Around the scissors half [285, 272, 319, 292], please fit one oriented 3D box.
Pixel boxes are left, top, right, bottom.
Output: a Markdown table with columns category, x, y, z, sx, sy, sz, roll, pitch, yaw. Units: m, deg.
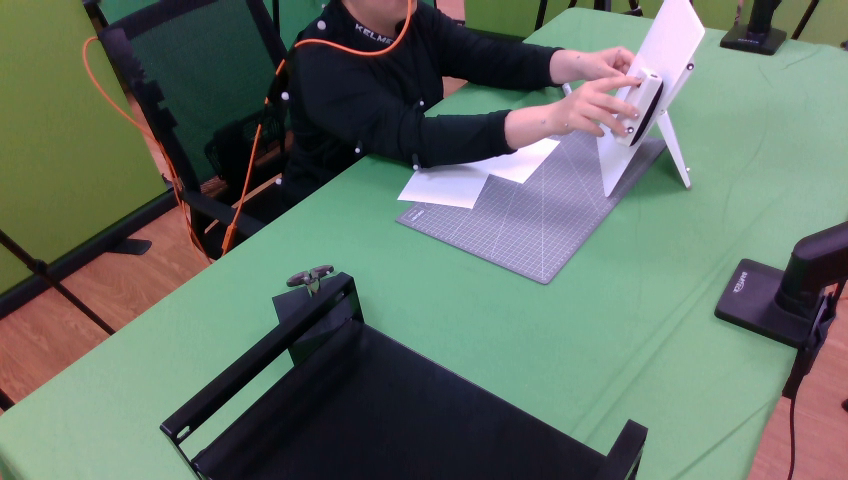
| category | x | y | z | sx | sy | sz | roll | pitch | yaw |
| --- | --- | --- | --- | --- | --- | --- | --- | --- | --- |
| scissors half | -0.172 | 0.063 | 0.868 | 0.040 | 0.013 | 0.174 | -13 | 7 | -21 |

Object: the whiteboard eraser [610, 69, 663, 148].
| category | x | y | z | sx | sy | sz | roll | pitch | yaw |
| --- | --- | --- | --- | --- | --- | --- | --- | --- | --- |
| whiteboard eraser | 0.329 | -0.202 | 0.933 | 0.042 | 0.113 | 0.055 | 16 | 31 | -3 |

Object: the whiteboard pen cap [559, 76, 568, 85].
| category | x | y | z | sx | sy | sz | roll | pitch | yaw |
| --- | --- | --- | --- | --- | --- | --- | --- | --- | --- |
| whiteboard pen cap | 0.310 | -0.351 | 1.340 | 0.018 | 0.018 | 0.033 | -6 | 40 | 2 |

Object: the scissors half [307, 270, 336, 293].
| category | x | y | z | sx | sy | sz | roll | pitch | yaw |
| --- | --- | --- | --- | --- | --- | --- | --- | --- | --- |
| scissors half | -0.152 | 0.060 | 0.872 | 0.040 | 0.013 | 0.175 | -5 | 6 | -4 |

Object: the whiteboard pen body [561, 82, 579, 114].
| category | x | y | z | sx | sy | sz | roll | pitch | yaw |
| --- | --- | --- | --- | --- | --- | --- | --- | --- | --- |
| whiteboard pen body | 0.311 | -0.311 | 1.298 | 0.017 | 0.017 | 0.140 | -6 | 41 | 3 |

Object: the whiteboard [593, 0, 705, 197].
| category | x | y | z | sx | sy | sz | roll | pitch | yaw |
| --- | --- | --- | --- | --- | --- | --- | --- | --- | --- |
| whiteboard | 0.421 | -0.227 | 1.009 | 0.144 | 0.305 | 0.216 | 17 | 41 | -3 |
